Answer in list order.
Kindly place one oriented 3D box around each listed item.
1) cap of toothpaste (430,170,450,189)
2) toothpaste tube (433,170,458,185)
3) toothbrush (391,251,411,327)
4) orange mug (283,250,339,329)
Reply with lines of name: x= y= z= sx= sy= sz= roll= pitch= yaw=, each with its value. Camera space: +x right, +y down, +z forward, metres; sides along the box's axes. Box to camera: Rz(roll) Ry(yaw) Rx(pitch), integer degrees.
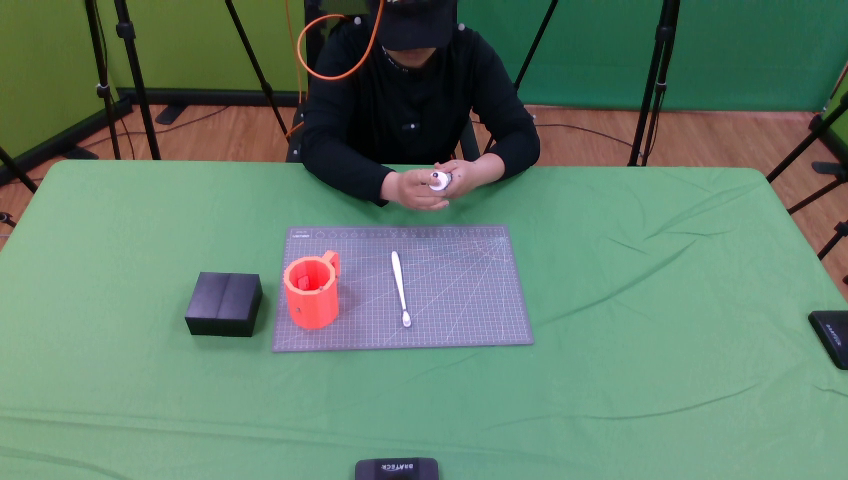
cap of toothpaste: x=0.029 y=-0.111 z=1.113 sx=0.037 sy=0.037 sz=0.011 roll=13 pitch=9 yaw=9
toothpaste tube: x=0.039 y=-0.123 z=1.188 sx=0.055 sy=0.034 sz=0.165 roll=17 pitch=12 yaw=2
toothbrush: x=-0.044 y=0.085 z=1.113 sx=0.014 sy=0.017 sz=0.180 roll=-13 pitch=46 yaw=0
orange mug: x=-0.186 y=0.079 z=1.052 sx=0.083 sy=0.101 sz=0.126 roll=20 pitch=52 yaw=15
